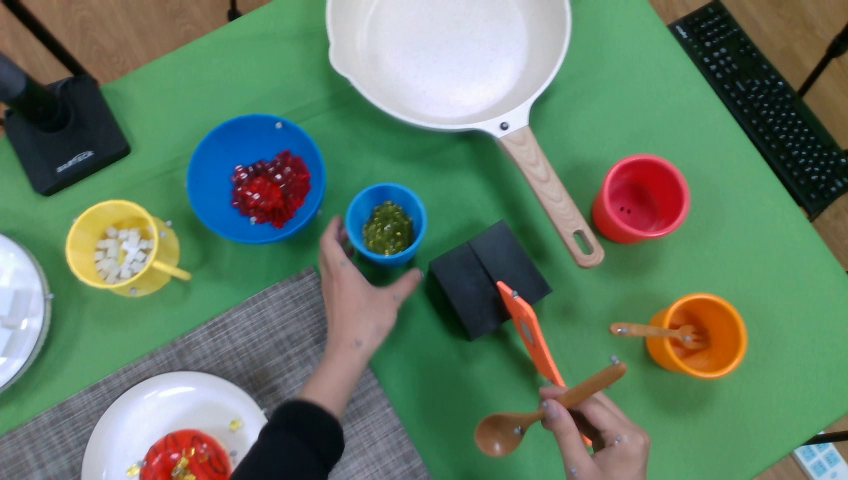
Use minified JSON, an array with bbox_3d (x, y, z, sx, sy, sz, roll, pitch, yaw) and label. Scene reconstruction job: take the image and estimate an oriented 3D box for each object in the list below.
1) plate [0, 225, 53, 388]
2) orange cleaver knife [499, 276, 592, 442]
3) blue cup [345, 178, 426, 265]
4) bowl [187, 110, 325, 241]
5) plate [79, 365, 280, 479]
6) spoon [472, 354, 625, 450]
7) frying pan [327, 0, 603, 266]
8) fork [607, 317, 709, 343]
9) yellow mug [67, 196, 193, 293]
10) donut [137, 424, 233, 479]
[{"bbox_3d":[-0.521,0.080,0.683,0.208,0.039,0.206,0,79,-1],"label":"plate"},{"bbox_3d":[0.133,0.132,0.669,0.012,0.076,0.213,-30,109,-7],"label":"orange cleaver knife"},{"bbox_3d":[-0.042,-0.012,0.683,0.093,0.100,0.092,1,75,-3],"label":"blue cup"},{"bbox_3d":[-0.185,-0.065,0.702,0.151,0.077,0.150,0,79,-2],"label":"bowl"},{"bbox_3d":[-0.258,0.240,0.653,0.209,0.038,0.208,0,79,-2],"label":"plate"},{"bbox_3d":[0.106,0.147,0.536,0.041,0.194,0.021,51,45,6],"label":"spoon"},{"bbox_3d":[0.075,-0.180,0.719,0.307,0.103,0.484,-25,72,-5],"label":"frying pan"},{"bbox_3d":[0.254,0.094,0.645,0.209,0.018,0.028,11,73,-44],"label":"fork"},{"bbox_3d":[-0.324,0.013,0.688,0.131,0.064,0.099,23,78,2],"label":"yellow mug"},{"bbox_3d":[-0.253,0.245,0.642,0.099,0.048,0.098,0,82,-2],"label":"donut"}]
